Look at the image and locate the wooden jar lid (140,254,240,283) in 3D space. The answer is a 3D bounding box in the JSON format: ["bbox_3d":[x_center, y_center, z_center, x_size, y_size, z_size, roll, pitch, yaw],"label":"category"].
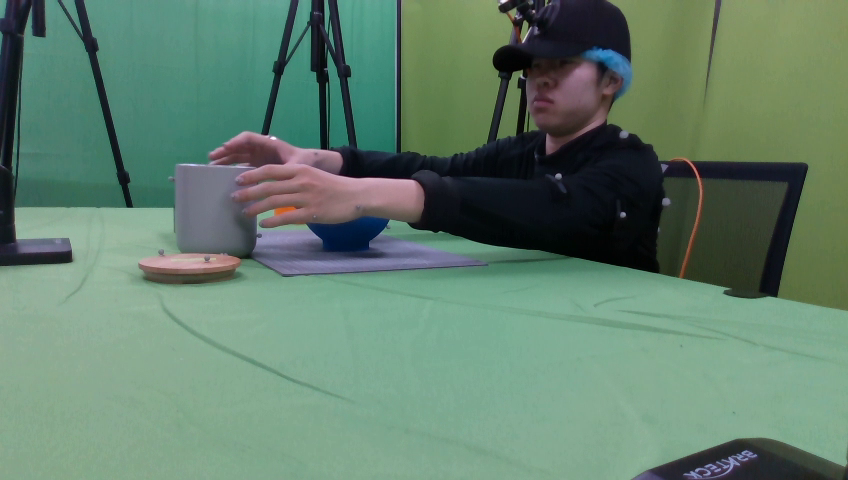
[{"bbox_3d":[-0.269,0.033,0.698,0.108,0.020,0.108,2,5,0],"label":"wooden jar lid"}]

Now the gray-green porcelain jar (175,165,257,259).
[{"bbox_3d":[-0.286,-0.039,0.837,0.106,0.126,0.106,2,7,0],"label":"gray-green porcelain jar"}]

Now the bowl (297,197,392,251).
[{"bbox_3d":[-0.126,-0.026,0.957,0.151,0.077,0.151,2,6,0],"label":"bowl"}]

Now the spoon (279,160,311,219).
[{"bbox_3d":[-0.285,-0.117,1.371,0.041,0.193,0.022,3,-37,11],"label":"spoon"}]
